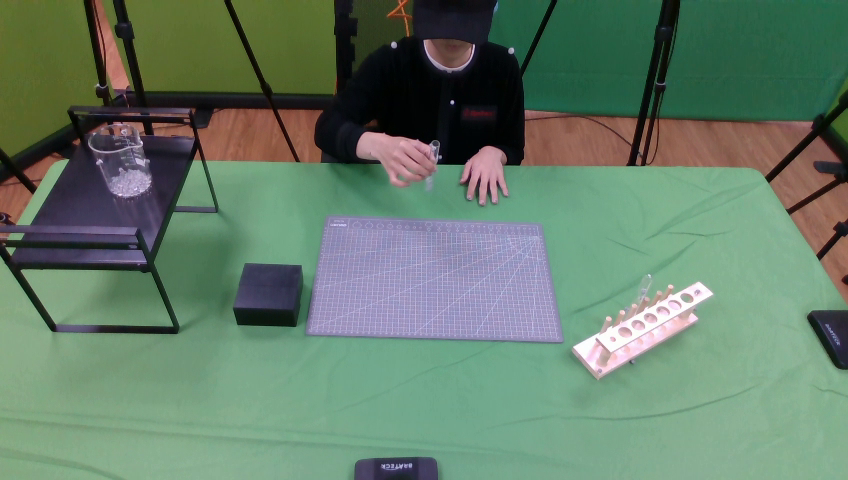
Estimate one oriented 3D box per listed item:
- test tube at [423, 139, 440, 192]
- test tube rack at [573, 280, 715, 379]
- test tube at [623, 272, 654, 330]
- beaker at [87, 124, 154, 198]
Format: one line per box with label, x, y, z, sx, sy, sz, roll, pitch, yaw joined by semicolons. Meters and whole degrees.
test tube;0.013;-0.133;1.112;0.017;0.151;0.017;3;61;-5
test tube rack;0.378;0.140;1.038;0.242;0.085;0.066;-22;51;-23
test tube;0.356;0.104;1.010;0.017;0.151;0.017;1;46;-1
beaker;-0.482;-0.124;0.978;0.084;0.101;0.073;9;46;4
